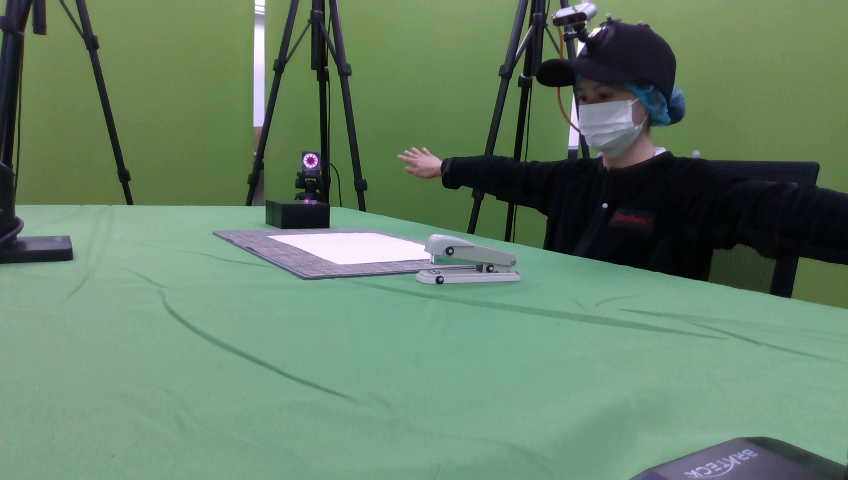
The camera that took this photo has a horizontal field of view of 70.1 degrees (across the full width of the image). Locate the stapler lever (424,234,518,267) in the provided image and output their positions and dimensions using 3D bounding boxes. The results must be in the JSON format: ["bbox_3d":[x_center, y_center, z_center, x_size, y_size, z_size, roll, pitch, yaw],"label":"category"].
[{"bbox_3d":[0.057,0.014,0.731,0.118,0.040,0.026,1,8,-22],"label":"stapler lever"}]

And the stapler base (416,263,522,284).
[{"bbox_3d":[0.055,0.038,0.733,0.131,0.024,0.041,1,8,-23],"label":"stapler base"}]
